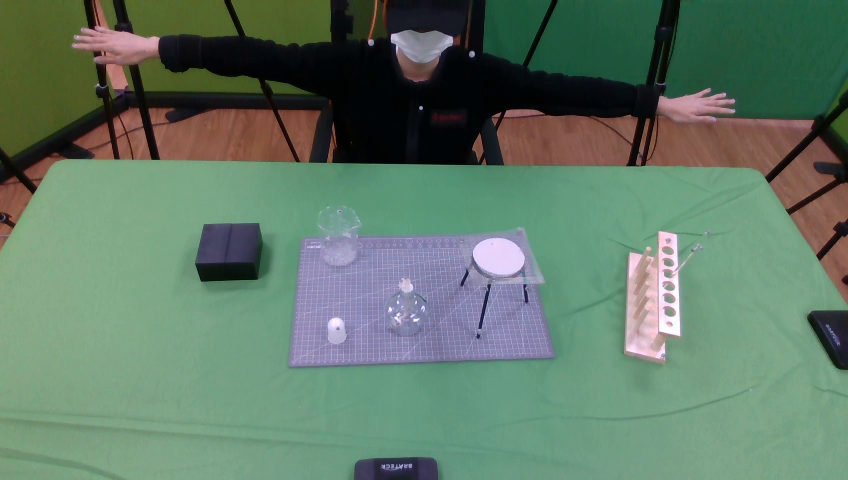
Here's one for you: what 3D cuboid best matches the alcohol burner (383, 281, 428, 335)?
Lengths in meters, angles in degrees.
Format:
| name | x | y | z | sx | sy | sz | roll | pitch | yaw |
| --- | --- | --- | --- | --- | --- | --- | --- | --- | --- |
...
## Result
| name | x | y | z | sx | sy | sz | roll | pitch | yaw |
| --- | --- | --- | --- | --- | --- | --- | --- | --- | --- |
| alcohol burner | -0.030 | 0.108 | 1.024 | 0.078 | 0.119 | 0.077 | 2 | 48 | -2 |

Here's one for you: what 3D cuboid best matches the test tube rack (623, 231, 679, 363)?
| name | x | y | z | sx | sy | sz | roll | pitch | yaw |
| --- | --- | --- | --- | --- | --- | --- | --- | --- | --- |
| test tube rack | 0.410 | 0.094 | 1.096 | 0.066 | 0.085 | 0.241 | 13 | 46 | 9 |

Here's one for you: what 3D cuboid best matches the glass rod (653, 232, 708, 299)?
| name | x | y | z | sx | sy | sz | roll | pitch | yaw |
| --- | --- | --- | --- | --- | --- | --- | --- | --- | --- |
| glass rod | 0.441 | 0.049 | 1.050 | 0.008 | 0.200 | 0.008 | 4 | 52 | -5 |

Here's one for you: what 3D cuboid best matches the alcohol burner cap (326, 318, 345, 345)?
| name | x | y | z | sx | sy | sz | roll | pitch | yaw |
| --- | --- | --- | --- | --- | --- | --- | --- | --- | --- |
| alcohol burner cap | -0.149 | 0.151 | 1.023 | 0.034 | 0.048 | 0.033 | 3 | 46 | -3 |

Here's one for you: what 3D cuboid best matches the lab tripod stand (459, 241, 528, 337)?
| name | x | y | z | sx | sy | sz | roll | pitch | yaw |
| --- | --- | --- | --- | --- | --- | --- | --- | --- | --- |
| lab tripod stand | 0.122 | 0.075 | 1.054 | 0.148 | 0.132 | 0.147 | 3 | 44 | -3 |

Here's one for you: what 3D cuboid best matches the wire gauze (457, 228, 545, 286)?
| name | x | y | z | sx | sy | sz | roll | pitch | yaw |
| --- | --- | --- | --- | --- | --- | --- | --- | --- | --- |
| wire gauze | 0.126 | 0.028 | 1.006 | 0.125 | 0.011 | 0.120 | -4 | 46 | -10 |

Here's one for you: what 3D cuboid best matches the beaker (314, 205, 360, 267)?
| name | x | y | z | sx | sy | sz | roll | pitch | yaw |
| --- | --- | --- | --- | --- | --- | --- | --- | --- | --- |
| beaker | -0.160 | -0.004 | 1.132 | 0.084 | 0.101 | 0.073 | 9 | 46 | 3 |
